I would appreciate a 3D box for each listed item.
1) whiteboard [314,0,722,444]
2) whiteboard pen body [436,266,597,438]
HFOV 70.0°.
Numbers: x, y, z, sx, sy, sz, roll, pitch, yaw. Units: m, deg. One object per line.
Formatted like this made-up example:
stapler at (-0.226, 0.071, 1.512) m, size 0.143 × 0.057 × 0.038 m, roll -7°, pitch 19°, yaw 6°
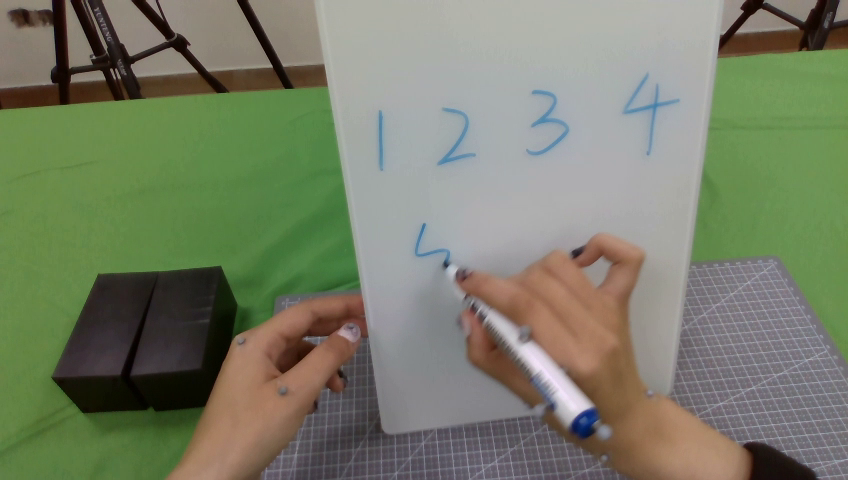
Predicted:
whiteboard at (0.058, -0.032, 0.434) m, size 0.217 × 0.308 × 0.142 m, roll -6°, pitch 27°, yaw -2°
whiteboard pen body at (0.042, 0.053, 0.330) m, size 0.017 × 0.017 × 0.139 m, roll -23°, pitch 42°, yaw -19°
